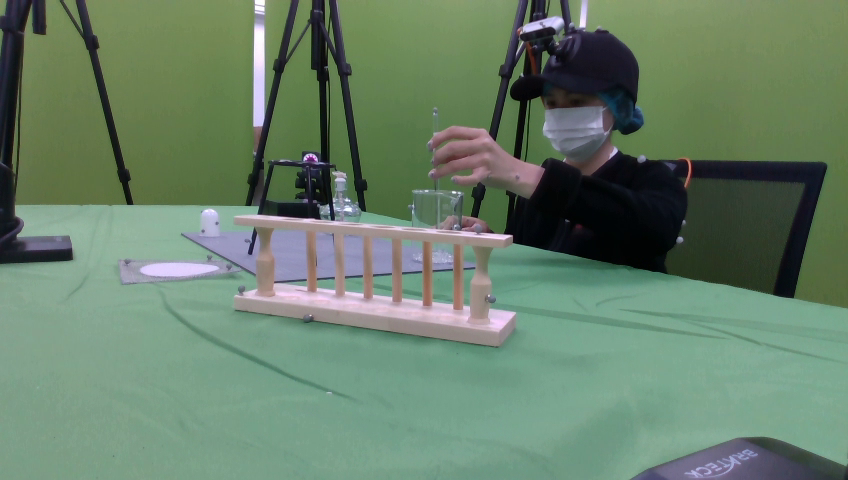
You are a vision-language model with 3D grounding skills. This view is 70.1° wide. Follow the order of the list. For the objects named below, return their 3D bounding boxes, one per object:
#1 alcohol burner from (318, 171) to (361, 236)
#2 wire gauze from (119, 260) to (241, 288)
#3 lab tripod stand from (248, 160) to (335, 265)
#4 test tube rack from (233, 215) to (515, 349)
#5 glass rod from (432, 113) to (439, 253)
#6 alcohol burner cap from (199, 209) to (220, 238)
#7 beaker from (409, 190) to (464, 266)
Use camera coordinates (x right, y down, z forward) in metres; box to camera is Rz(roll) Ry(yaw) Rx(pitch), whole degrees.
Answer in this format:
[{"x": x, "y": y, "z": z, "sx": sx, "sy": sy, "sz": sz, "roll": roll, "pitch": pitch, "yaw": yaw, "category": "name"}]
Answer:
[{"x": -0.155, "y": -0.067, "z": 1.104, "sx": 0.078, "sy": 0.119, "sz": 0.078, "roll": 1, "pitch": 8, "yaw": 0, "category": "alcohol burner"}, {"x": -0.288, "y": 0.034, "z": 0.706, "sx": 0.122, "sy": 0.011, "sz": 0.124, "roll": -3, "pitch": 10, "yaw": -29, "category": "wire gauze"}, {"x": -0.165, "y": -0.041, "z": 0.817, "sx": 0.148, "sy": 0.131, "sz": 0.148, "roll": 5, "pitch": 7, "yaw": 0, "category": "lab tripod stand"}, {"x": -0.045, "y": 0.029, "z": 0.526, "sx": 0.241, "sy": 0.085, "sz": 0.067, "roll": 5, "pitch": 8, "yaw": 19, "category": "test tube rack"}, {"x": 0.016, "y": -0.076, "z": 0.839, "sx": 0.008, "sy": 0.199, "sz": 0.008, "roll": -1, "pitch": 19, "yaw": 1, "category": "glass rod"}, {"x": -0.356, "y": -0.027, "z": 1.002, "sx": 0.034, "sy": 0.048, "sz": 0.034, "roll": 2, "pitch": 7, "yaw": 0, "category": "alcohol burner cap"}, {"x": 0.018, "y": -0.017, "z": 0.840, "sx": 0.074, "sy": 0.100, "sz": 0.083, "roll": -3, "pitch": 10, "yaw": -35, "category": "beaker"}]
